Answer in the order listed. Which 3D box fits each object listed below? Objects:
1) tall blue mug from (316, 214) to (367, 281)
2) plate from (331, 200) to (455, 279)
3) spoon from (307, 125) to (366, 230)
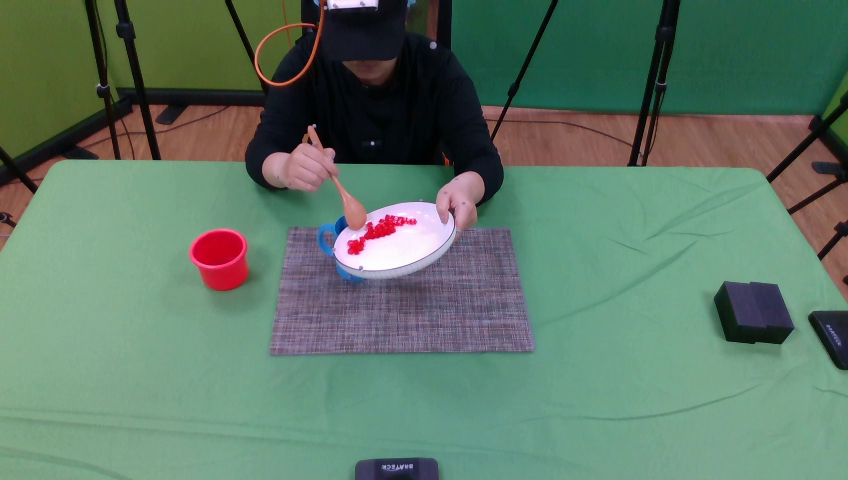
[{"bbox_3d":[-0.141,0.014,1.109,0.107,0.108,0.077,-4,48,-9],"label":"tall blue mug"},{"bbox_3d":[-0.048,0.002,0.998,0.207,0.039,0.206,-11,31,7],"label":"plate"},{"bbox_3d":[-0.152,-0.105,1.028,0.041,0.194,0.021,-34,12,-27],"label":"spoon"}]
